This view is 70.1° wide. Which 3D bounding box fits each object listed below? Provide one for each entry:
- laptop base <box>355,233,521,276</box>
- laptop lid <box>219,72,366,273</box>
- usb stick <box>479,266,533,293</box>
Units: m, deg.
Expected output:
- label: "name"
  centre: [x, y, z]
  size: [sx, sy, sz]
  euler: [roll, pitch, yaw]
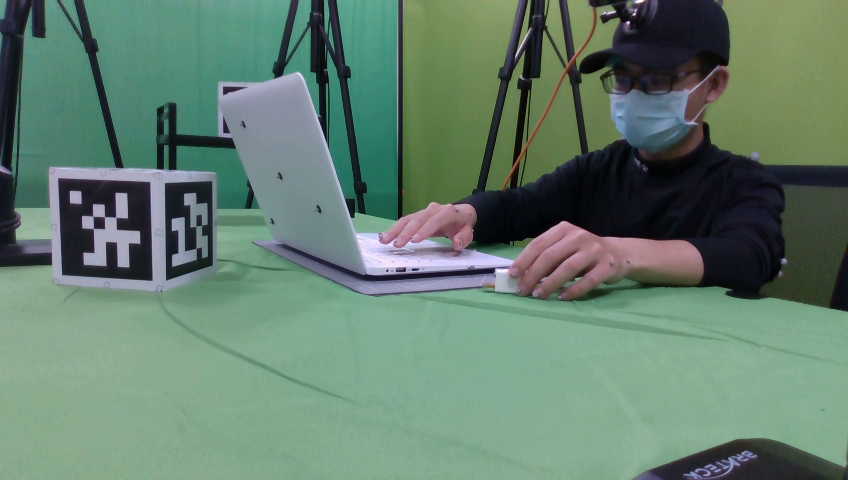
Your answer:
- label: "laptop base"
  centre: [-0.056, 0.018, 0.897]
  size: [0.237, 0.023, 0.352]
  euler: [2, 6, -32]
- label: "laptop lid"
  centre: [-0.189, -0.087, 0.800]
  size: [0.013, 0.242, 0.355]
  euler: [-26, 21, -26]
- label: "usb stick"
  centre: [0.092, 0.045, 0.685]
  size: [0.059, 0.027, 0.021]
  euler: [1, 10, 1]
